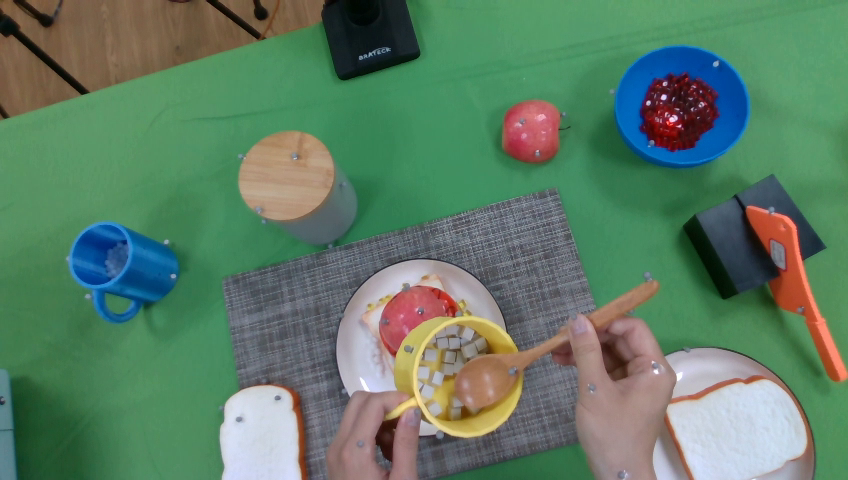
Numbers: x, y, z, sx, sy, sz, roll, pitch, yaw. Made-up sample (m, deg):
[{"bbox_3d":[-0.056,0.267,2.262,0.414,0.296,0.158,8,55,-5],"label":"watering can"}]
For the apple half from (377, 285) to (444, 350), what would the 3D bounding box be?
[{"bbox_3d":[-0.016,0.088,0.666,0.081,0.033,0.081,-3,75,13],"label":"apple half"}]

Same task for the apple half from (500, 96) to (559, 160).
[{"bbox_3d":[0.133,-0.147,0.766,0.074,0.053,0.080,6,78,11],"label":"apple half"}]

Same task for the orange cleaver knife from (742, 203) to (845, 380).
[{"bbox_3d":[0.406,0.055,0.671,0.012,0.077,0.212,-25,97,-7],"label":"orange cleaver knife"}]

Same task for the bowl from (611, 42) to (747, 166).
[{"bbox_3d":[0.298,-0.151,0.734,0.151,0.077,0.150,-2,77,7],"label":"bowl"}]

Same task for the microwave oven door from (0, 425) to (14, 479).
[{"bbox_3d":[-0.509,0.374,0.605,0.039,0.245,0.353,-15,75,4],"label":"microwave oven door"}]

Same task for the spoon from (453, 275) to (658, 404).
[{"bbox_3d":[0.102,0.082,0.490,0.194,0.022,0.041,-35,80,27],"label":"spoon"}]

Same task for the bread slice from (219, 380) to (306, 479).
[{"bbox_3d":[-0.199,0.237,0.732,0.105,0.019,0.131,-8,78,4],"label":"bread slice"}]

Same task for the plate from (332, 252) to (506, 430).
[{"bbox_3d":[-0.005,0.119,0.725,0.207,0.039,0.206,-2,77,7],"label":"plate"}]

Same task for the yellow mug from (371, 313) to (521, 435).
[{"bbox_3d":[0.014,0.121,0.530,0.131,0.064,0.100,-25,90,-18],"label":"yellow mug"}]

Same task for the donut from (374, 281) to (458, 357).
[{"bbox_3d":[-0.008,0.096,0.701,0.099,0.048,0.098,-1,79,8],"label":"donut"}]

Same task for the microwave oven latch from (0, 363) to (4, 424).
[{"bbox_3d":[-0.546,0.192,0.757,0.030,0.029,0.078,-11,76,4],"label":"microwave oven latch"}]

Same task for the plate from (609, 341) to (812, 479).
[{"bbox_3d":[0.309,0.217,0.667,0.209,0.038,0.208,-2,77,7],"label":"plate"}]

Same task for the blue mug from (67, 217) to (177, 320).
[{"bbox_3d":[-0.376,0.041,0.756,0.082,0.106,0.116,5,77,8],"label":"blue mug"}]

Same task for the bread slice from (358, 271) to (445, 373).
[{"bbox_3d":[0.000,0.116,0.726,0.107,0.018,0.133,-31,75,-1],"label":"bread slice"}]

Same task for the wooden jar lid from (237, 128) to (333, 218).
[{"bbox_3d":[-0.154,-0.073,0.680,0.108,0.021,0.108,-1,74,5],"label":"wooden jar lid"}]

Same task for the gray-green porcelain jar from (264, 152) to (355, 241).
[{"bbox_3d":[-0.145,-0.058,0.741,0.106,0.127,0.105,-2,76,7],"label":"gray-green porcelain jar"}]
